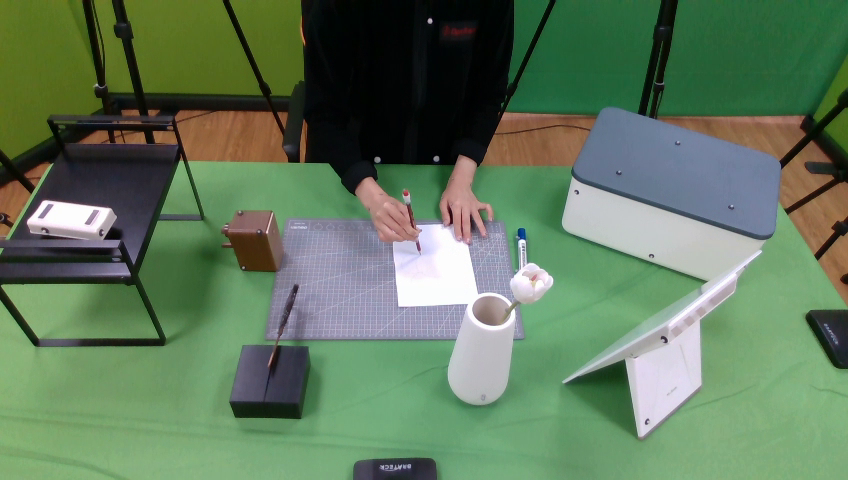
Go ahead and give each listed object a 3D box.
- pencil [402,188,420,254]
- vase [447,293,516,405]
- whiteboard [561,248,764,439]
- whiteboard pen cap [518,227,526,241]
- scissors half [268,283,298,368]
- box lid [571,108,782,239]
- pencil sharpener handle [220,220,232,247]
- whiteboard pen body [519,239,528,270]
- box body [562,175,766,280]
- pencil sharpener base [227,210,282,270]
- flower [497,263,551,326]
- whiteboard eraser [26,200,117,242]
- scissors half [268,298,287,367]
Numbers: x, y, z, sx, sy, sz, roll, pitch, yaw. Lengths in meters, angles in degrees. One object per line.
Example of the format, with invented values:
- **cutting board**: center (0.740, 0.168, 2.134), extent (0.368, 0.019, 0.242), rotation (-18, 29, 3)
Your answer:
- **pencil**: center (-0.021, -0.029, 1.101), extent (0.012, 0.195, 0.012), rotation (-4, 54, 6)
- **vase**: center (0.091, 0.169, 0.921), extent (0.098, 0.201, 0.097), rotation (3, 47, -3)
- **whiteboard**: center (0.386, 0.176, 0.905), extent (0.217, 0.306, 0.143), rotation (-26, 72, -27)
- **whiteboard pen cap**: center (0.197, -0.009, 1.220), extent (0.018, 0.018, 0.033), rotation (5, 50, 1)
- **scissors half**: center (-0.230, 0.135, 0.986), extent (0.013, 0.040, 0.174), rotation (19, 43, -11)
- **box lid**: center (0.491, -0.139, 1.168), extent (0.370, 0.015, 0.262), rotation (21, 49, 15)
- **pencil sharpener handle**: center (-0.362, -0.009, 1.105), extent (0.030, 0.068, 0.036), rotation (1, 53, 1)
- **whiteboard pen body**: center (0.193, 0.035, 1.181), extent (0.017, 0.017, 0.140), rotation (6, 48, 1)
- **box body**: center (0.486, -0.088, 1.222), extent (0.363, 0.161, 0.253), rotation (20, 48, 15)
- **pencil sharpener base**: center (-0.311, 0.001, 1.112), extent (0.077, 0.107, 0.061), rotation (1, 47, 1)
- **flower**: center (0.102, 0.121, 0.853), extent (0.044, 0.363, 0.038), rotation (-2, 64, -10)
- **whiteboard eraser**: center (-0.532, -0.026, 0.919), extent (0.113, 0.042, 0.055), rotation (7, 45, 3)
- **scissors half**: center (-0.239, 0.150, 0.997), extent (0.013, 0.040, 0.174), rotation (24, 24, -14)
